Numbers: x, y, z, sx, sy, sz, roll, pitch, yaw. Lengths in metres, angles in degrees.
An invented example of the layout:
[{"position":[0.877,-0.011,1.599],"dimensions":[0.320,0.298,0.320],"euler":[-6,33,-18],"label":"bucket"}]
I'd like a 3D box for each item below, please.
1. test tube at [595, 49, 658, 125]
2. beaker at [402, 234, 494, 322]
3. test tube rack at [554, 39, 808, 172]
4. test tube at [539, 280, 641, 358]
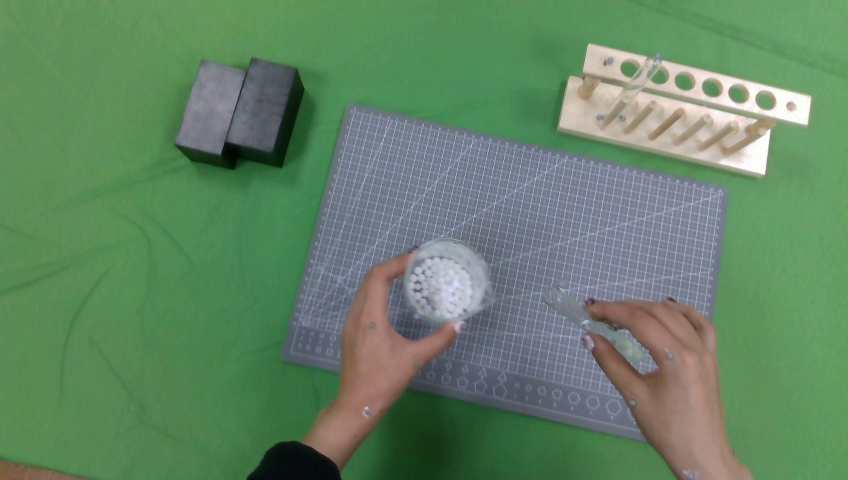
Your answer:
[{"position":[0.206,-0.154,0.625],"dimensions":[0.017,0.150,0.017],"euler":[0,78,-2],"label":"test tube"},{"position":[0.019,0.041,0.570],"dimensions":[0.084,0.100,0.074],"euler":[23,79,-1],"label":"beaker"},{"position":[0.278,-0.146,0.672],"dimensions":[0.242,0.085,0.066],"euler":[13,79,0],"label":"test tube rack"},{"position":[0.139,0.067,0.492],"dimensions":[0.152,0.017,0.017],"euler":[33,76,-39],"label":"test tube"}]
